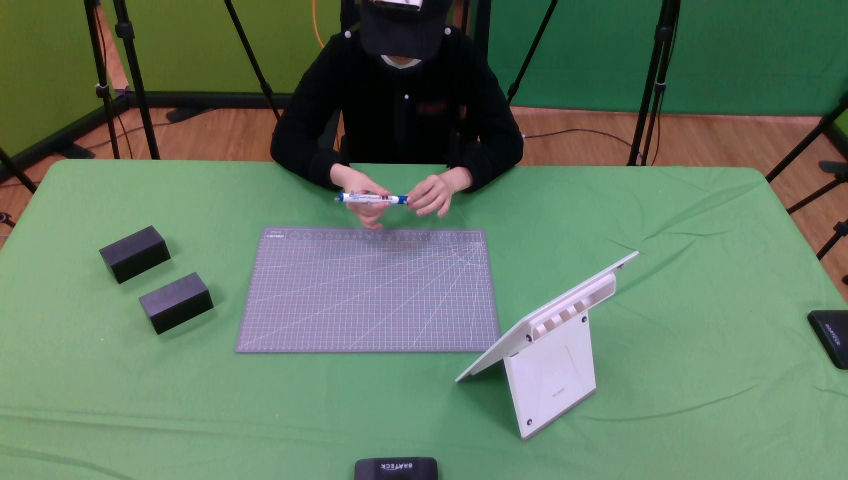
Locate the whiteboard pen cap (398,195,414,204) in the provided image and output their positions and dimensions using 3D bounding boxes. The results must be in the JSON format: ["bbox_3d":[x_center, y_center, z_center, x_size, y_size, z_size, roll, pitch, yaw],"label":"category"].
[{"bbox_3d":[-0.037,-0.078,1.167,0.033,0.018,0.018,-6,45,-30],"label":"whiteboard pen cap"}]

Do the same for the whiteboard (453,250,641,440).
[{"bbox_3d":[0.205,0.175,0.890,0.217,0.306,0.143,-25,72,-25],"label":"whiteboard"}]

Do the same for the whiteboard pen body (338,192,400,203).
[{"bbox_3d":[-0.094,-0.079,1.138,0.141,0.017,0.017,0,44,-28],"label":"whiteboard pen body"}]
